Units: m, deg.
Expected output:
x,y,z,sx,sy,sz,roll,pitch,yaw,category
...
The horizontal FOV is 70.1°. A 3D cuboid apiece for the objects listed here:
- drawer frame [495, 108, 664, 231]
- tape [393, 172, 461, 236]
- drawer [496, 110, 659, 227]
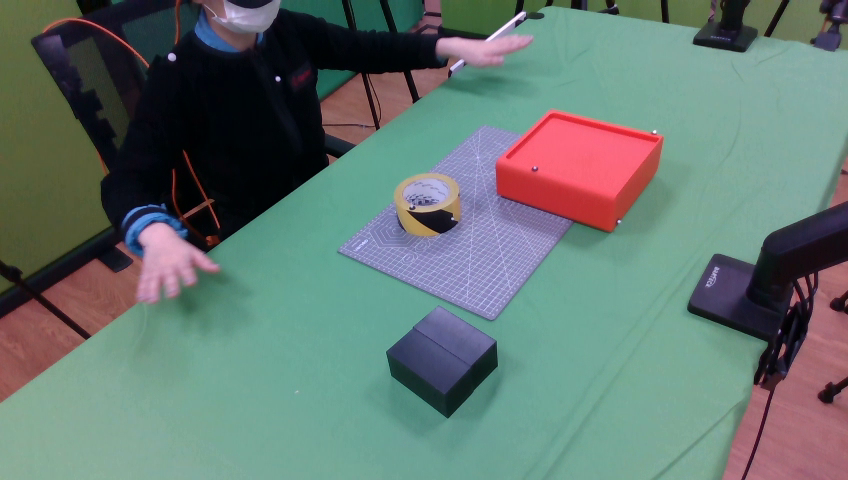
x,y,z,sx,sy,sz,roll,pitch,yaw,category
0.262,-0.127,1.028,0.212,0.083,0.202,22,48,29,drawer frame
0.005,-0.061,1.012,0.117,0.053,0.116,-4,40,4,tape
0.259,-0.127,1.028,0.210,0.073,0.195,23,48,30,drawer
